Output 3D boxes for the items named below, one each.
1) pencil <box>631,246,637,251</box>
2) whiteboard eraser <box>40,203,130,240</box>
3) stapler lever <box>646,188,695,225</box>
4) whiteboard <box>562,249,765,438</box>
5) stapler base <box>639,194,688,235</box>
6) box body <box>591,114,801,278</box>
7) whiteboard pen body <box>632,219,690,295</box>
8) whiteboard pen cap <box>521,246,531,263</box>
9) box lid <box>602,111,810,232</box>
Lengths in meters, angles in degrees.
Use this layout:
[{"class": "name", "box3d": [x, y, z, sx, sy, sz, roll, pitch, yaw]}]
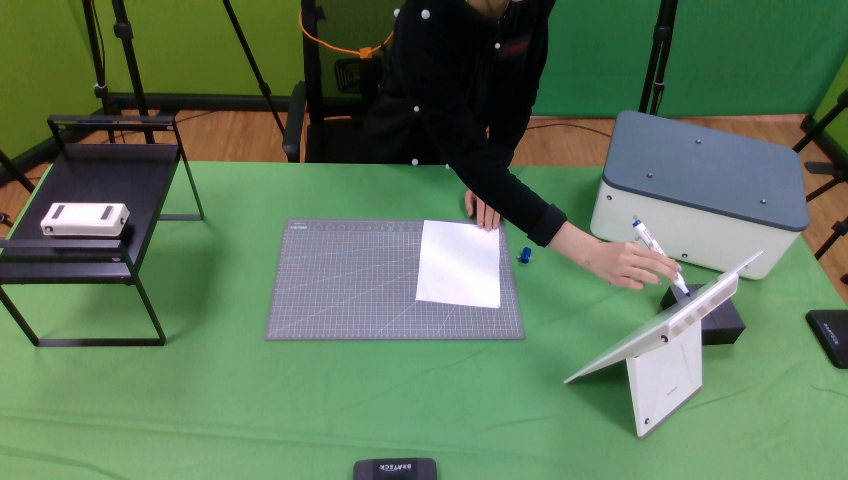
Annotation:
[{"class": "pencil", "box3d": [0.431, -0.060, 1.284, 0.012, 0.012, 0.193, 3, 56, -2]}, {"class": "whiteboard eraser", "box3d": [-0.513, -0.028, 0.922, 0.113, 0.042, 0.055, 1, 48, -3]}, {"class": "stapler lever", "box3d": [0.515, -0.078, 1.265, 0.027, 0.040, 0.117, 0, 41, -31]}, {"class": "whiteboard", "box3d": [0.386, 0.175, 0.905, 0.217, 0.306, 0.143, -26, 72, -26]}, {"class": "stapler base", "box3d": [0.510, -0.059, 1.278, 0.041, 0.024, 0.129, 0, 39, -31]}, {"class": "box body", "box3d": [0.540, -0.092, 1.229, 0.363, 0.161, 0.253, 16, 47, 11]}, {"class": "whiteboard pen body", "box3d": [0.368, 0.027, 0.935, 0.017, 0.017, 0.140, -32, 84, -29]}, {"class": "whiteboard pen cap", "box3d": [0.200, 0.029, 1.188, 0.018, 0.018, 0.033, 14, 47, 9]}, {"class": "box lid", "box3d": [0.545, -0.143, 1.176, 0.371, 0.015, 0.262, 15, 47, 11]}]
